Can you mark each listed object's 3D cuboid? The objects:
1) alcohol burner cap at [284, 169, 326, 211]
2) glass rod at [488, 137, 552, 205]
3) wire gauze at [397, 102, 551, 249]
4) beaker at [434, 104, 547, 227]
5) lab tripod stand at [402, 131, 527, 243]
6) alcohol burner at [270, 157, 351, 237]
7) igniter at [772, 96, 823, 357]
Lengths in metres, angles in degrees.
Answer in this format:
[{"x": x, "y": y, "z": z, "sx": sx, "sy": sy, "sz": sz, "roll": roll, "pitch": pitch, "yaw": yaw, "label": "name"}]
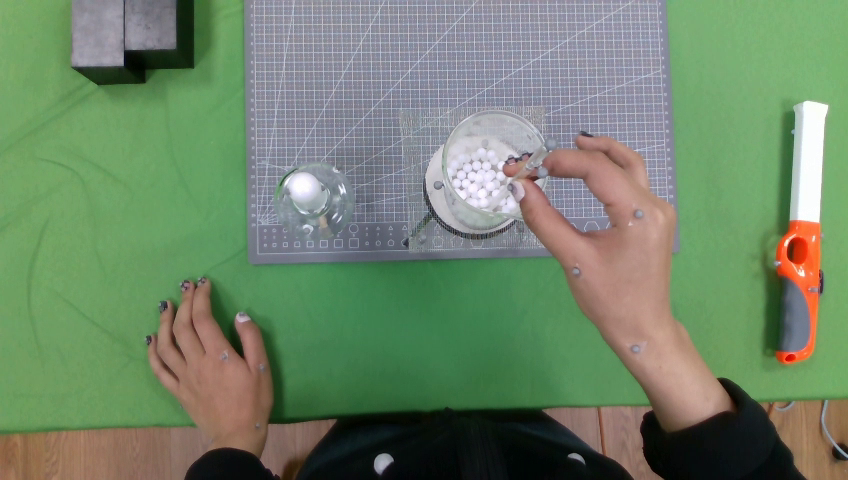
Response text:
[{"x": -0.107, "y": -0.046, "z": 0.536, "sx": 0.034, "sy": 0.048, "sz": 0.033, "roll": 0, "pitch": 82, "yaw": 0, "label": "alcohol burner cap"}, {"x": 0.058, "y": -0.039, "z": 0.395, "sx": 0.008, "sy": 0.200, "sz": 0.008, "roll": 0, "pitch": 85, "yaw": -1, "label": "glass rod"}, {"x": 0.041, "y": -0.054, "z": 0.504, "sx": 0.125, "sy": 0.011, "sz": 0.121, "roll": -2, "pitch": 84, "yaw": -1, "label": "wire gauze"}, {"x": 0.047, "y": -0.047, "z": 0.455, "sx": 0.074, "sy": 0.100, "sz": 0.084, "roll": -34, "pitch": 87, "yaw": -4, "label": "beaker"}, {"x": 0.038, "y": -0.046, "z": 0.569, "sx": 0.148, "sy": 0.131, "sz": 0.148, "roll": 0, "pitch": 85, "yaw": -1, "label": "lab tripod stand"}, {"x": -0.109, "y": -0.044, "z": 0.572, "sx": 0.078, "sy": 0.119, "sz": 0.077, "roll": 0, "pitch": 84, "yaw": -3, "label": "alcohol burner"}, {"x": 0.395, "y": -0.014, "z": 0.639, "sx": 0.057, "sy": 0.025, "sz": 0.276, "roll": 7, "pitch": 86, "yaw": -13, "label": "igniter"}]
